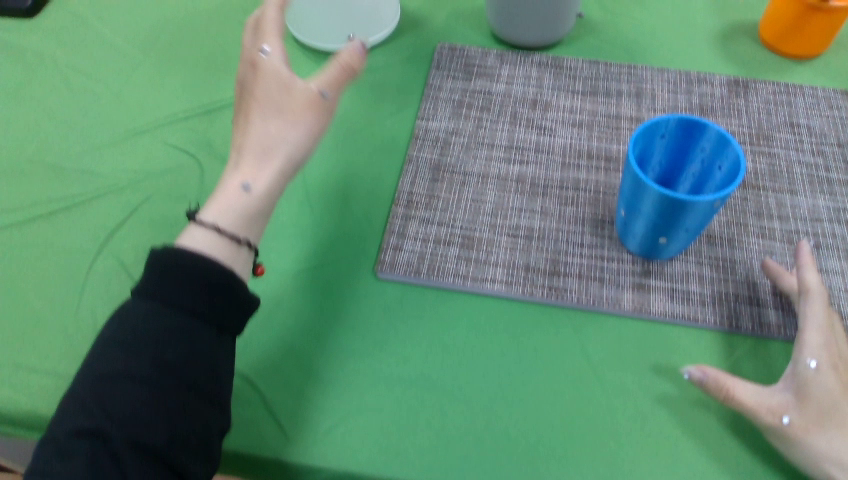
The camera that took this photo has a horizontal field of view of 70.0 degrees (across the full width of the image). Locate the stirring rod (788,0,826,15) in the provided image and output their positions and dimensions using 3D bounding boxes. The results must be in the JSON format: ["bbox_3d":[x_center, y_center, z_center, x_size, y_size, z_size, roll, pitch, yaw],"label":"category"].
[{"bbox_3d":[0.396,-0.242,0.608,0.014,0.006,0.176,14,15,15],"label":"stirring rod"}]

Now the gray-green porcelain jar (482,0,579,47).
[{"bbox_3d":[0.115,-0.280,0.642,0.106,0.127,0.105,0,57,1],"label":"gray-green porcelain jar"}]

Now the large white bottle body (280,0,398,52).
[{"bbox_3d":[-0.096,-0.306,0.624,0.130,0.186,0.129,0,56,1],"label":"large white bottle body"}]

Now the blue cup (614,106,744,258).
[{"bbox_3d":[0.195,-0.036,0.490,0.092,0.101,0.092,-1,55,2],"label":"blue cup"}]
